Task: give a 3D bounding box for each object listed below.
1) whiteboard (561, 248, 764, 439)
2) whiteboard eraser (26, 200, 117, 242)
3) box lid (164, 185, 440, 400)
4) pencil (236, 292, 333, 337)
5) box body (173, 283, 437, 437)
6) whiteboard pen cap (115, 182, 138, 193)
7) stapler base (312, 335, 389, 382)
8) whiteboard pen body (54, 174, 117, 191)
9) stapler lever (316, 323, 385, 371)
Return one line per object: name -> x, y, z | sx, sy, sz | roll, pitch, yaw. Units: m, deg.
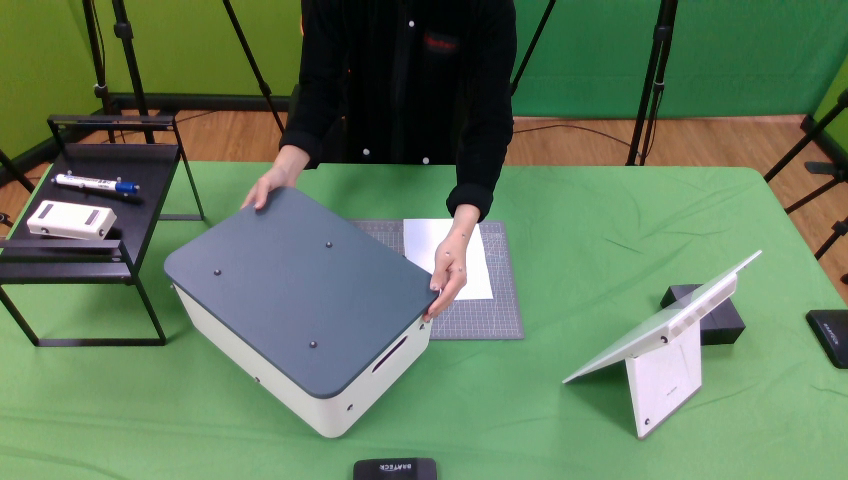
whiteboard -> 0.386, 0.176, 0.905 | 0.217, 0.306, 0.143 | -26, 72, -26
whiteboard eraser -> -0.532, -0.026, 0.919 | 0.113, 0.042, 0.055 | 7, 45, 3
box lid -> -0.186, 0.058, 0.925 | 0.370, 0.015, 0.263 | 31, 53, 24
pencil -> -0.244, 0.131, 1.056 | 0.194, 0.012, 0.012 | 22, 49, 12
box body -> -0.190, 0.108, 0.980 | 0.362, 0.161, 0.254 | 32, 53, 23
whiteboard pen cap -> -0.483, -0.086, 0.984 | 0.033, 0.018, 0.018 | 7, 46, 10
stapler base -> -0.123, 0.189, 0.997 | 0.130, 0.024, 0.041 | 20, 51, 15
whiteboard pen body -> -0.541, -0.093, 0.993 | 0.140, 0.017, 0.017 | 7, 46, 8
stapler lever -> -0.121, 0.171, 0.978 | 0.118, 0.040, 0.027 | 21, 51, 14
